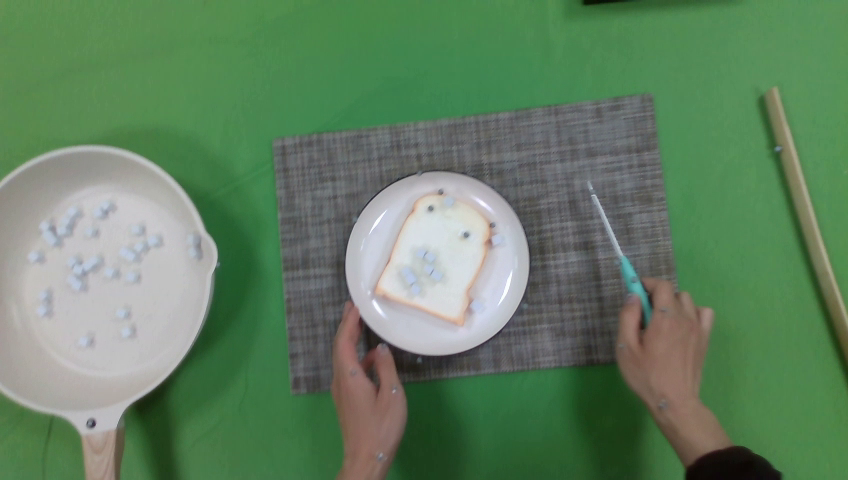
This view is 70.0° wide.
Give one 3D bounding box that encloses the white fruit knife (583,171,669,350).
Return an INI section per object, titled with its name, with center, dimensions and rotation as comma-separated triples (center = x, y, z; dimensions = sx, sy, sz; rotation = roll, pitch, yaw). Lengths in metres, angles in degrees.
[white fruit knife]
center = 0.211, 0.017, 0.646
dimensions = 0.016, 0.027, 0.206
rotation = -22, 74, 4

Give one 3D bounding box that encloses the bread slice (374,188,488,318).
[bread slice]
center = 0.012, 0.009, 0.687
dimensions = 0.107, 0.018, 0.134
rotation = 17, 88, 4

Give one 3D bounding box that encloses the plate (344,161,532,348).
[plate]
center = 0.016, 0.016, 0.684
dimensions = 0.207, 0.039, 0.207
rotation = 0, 85, 3

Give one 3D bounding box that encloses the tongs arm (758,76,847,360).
[tongs arm]
center = 0.442, 0.001, 0.672
dimensions = 0.028, 0.028, 0.386
rotation = -16, 85, -1

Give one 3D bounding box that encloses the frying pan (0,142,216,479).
[frying pan]
center = -0.357, 0.138, 0.664
dimensions = 0.307, 0.103, 0.485
rotation = -10, 76, 3
